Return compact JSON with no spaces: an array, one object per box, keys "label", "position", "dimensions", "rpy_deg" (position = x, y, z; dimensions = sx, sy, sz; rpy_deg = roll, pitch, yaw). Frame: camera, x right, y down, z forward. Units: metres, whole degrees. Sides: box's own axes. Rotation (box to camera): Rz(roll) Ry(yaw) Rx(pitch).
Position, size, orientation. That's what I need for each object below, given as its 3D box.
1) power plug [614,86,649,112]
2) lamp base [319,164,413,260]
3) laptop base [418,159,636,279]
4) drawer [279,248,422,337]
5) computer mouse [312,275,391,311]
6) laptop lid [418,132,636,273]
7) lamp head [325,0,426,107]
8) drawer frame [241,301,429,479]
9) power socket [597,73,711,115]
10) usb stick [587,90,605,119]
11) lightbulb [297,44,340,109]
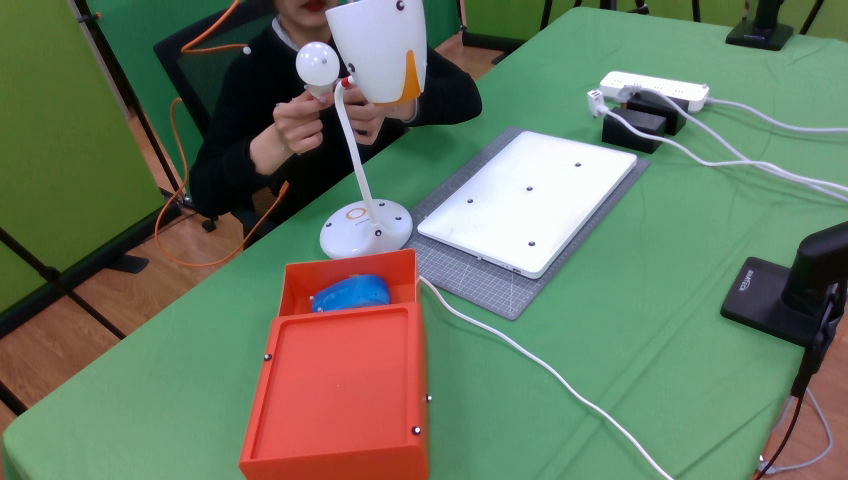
[{"label":"power plug","position":[0.406,-0.275,1.192],"dimensions":[0.035,0.053,0.072],"rpy_deg":[-15,24,-16]},{"label":"lamp base","position":[-0.102,-0.068,0.962],"dimensions":[0.161,0.181,0.177],"rpy_deg":[-30,46,-20]},{"label":"laptop base","position":[0.185,-0.074,1.042],"dimensions":[0.233,0.023,0.355],"rpy_deg":[20,48,35]},{"label":"drawer","position":[-0.100,0.114,0.828],"dimensions":[0.194,0.073,0.210],"rpy_deg":[-7,40,2]},{"label":"computer mouse","position":[-0.107,0.087,0.885],"dimensions":[0.117,0.041,0.062],"rpy_deg":[-14,40,0]},{"label":"laptop lid","position":[0.181,-0.084,1.036],"dimensions":[0.239,0.013,0.358],"rpy_deg":[22,49,35]},{"label":"lamp head","position":[-0.048,-0.218,0.708],"dimensions":[0.112,0.123,0.112],"rpy_deg":[-9,24,5]},{"label":"drawer frame","position":[-0.096,0.183,0.741],"dimensions":[0.202,0.083,0.212],"rpy_deg":[-6,40,3]},{"label":"power socket","position":[0.469,-0.304,1.249],"dimensions":[0.225,0.033,0.072],"rpy_deg":[20,49,30]},{"label":"usb stick","position":[0.334,-0.258,1.170],"dimensions":[0.021,0.059,0.027],"rpy_deg":[-28,44,-5]},{"label":"lightbulb","position":[-0.150,-0.232,0.873],"dimensions":[0.059,0.108,0.059],"rpy_deg":[1,57,-2]}]
